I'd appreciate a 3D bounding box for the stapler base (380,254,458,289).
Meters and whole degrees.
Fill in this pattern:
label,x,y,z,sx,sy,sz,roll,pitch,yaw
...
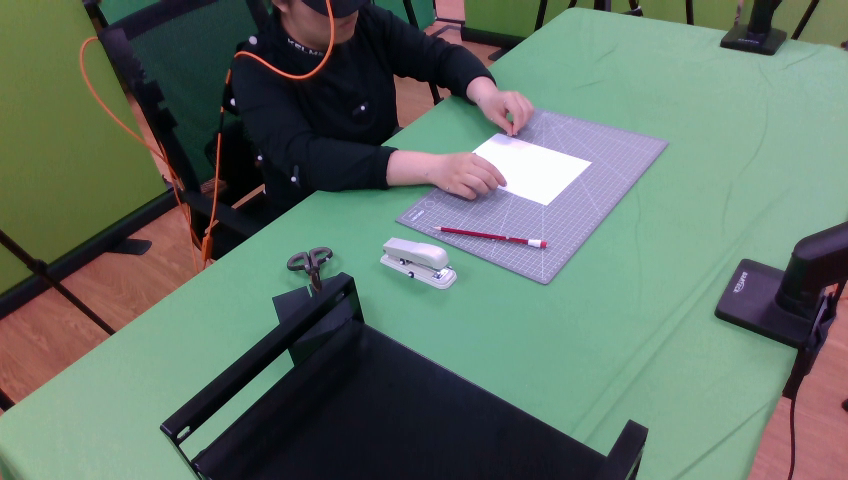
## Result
label,x,y,z,sx,sy,sz,roll,pitch,yaw
stapler base,-0.009,0.037,0.934,0.129,0.024,0.041,20,44,31

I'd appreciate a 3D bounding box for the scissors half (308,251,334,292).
label,x,y,z,sx,sy,sz,roll,pitch,yaw
scissors half,-0.159,0.046,0.913,0.040,0.013,0.174,-4,17,-5

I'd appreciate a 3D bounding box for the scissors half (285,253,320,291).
label,x,y,z,sx,sy,sz,roll,pitch,yaw
scissors half,-0.179,0.049,0.909,0.040,0.013,0.174,-15,19,-20

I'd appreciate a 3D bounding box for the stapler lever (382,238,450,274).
label,x,y,z,sx,sy,sz,roll,pitch,yaw
stapler lever,-0.014,0.018,0.919,0.117,0.040,0.027,21,45,31

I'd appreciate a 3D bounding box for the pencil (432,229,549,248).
label,x,y,z,sx,sy,sz,roll,pitch,yaw
pencil,0.103,-0.005,0.970,0.193,0.012,0.012,8,42,18
